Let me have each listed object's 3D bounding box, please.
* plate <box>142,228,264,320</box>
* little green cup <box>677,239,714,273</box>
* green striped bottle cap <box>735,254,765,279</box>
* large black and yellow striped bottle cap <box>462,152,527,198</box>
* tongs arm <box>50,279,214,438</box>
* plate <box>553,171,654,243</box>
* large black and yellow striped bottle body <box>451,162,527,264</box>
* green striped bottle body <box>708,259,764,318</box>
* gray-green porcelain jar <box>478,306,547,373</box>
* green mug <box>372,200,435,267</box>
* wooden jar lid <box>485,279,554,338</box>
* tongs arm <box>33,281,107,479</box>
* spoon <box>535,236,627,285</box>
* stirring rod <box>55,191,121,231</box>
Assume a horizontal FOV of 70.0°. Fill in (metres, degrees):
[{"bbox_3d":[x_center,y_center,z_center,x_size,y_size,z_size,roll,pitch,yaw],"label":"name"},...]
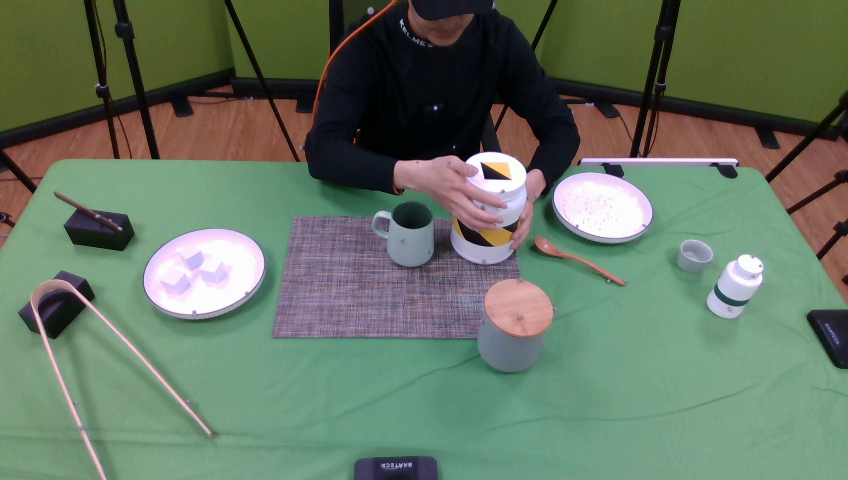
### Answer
[{"bbox_3d":[-0.394,0.064,1.095,0.208,0.039,0.206,2,46,-2],"label":"plate"},{"bbox_3d":[0.530,0.033,1.189,0.061,0.039,0.061,2,47,-2],"label":"little green cup"},{"bbox_3d":[0.566,0.046,1.051,0.044,0.020,0.044,0,45,0],"label":"green striped bottle cap"},{"bbox_3d":[0.126,-0.118,1.083,0.115,0.019,0.114,3,45,-3],"label":"large black and yellow striped bottle cap"},{"bbox_3d":[-0.459,0.178,0.949,0.386,0.028,0.028,37,60,17],"label":"tongs arm"},{"bbox_3d":[0.373,-0.066,1.274,0.209,0.038,0.208,2,46,-2],"label":"plate"},{"bbox_3d":[0.122,-0.059,1.142,0.131,0.185,0.130,2,46,-2],"label":"large black and yellow striped bottle body"},{"bbox_3d":[0.563,0.081,1.089,0.063,0.120,0.063,2,46,-2],"label":"green striped bottle body"},{"bbox_3d":[0.144,0.148,0.989,0.106,0.127,0.105,2,50,-2],"label":"gray-green porcelain jar"},{"bbox_3d":[-0.040,-0.015,1.146,0.125,0.105,0.092,16,48,12],"label":"green mug"},{"bbox_3d":[0.147,0.108,0.940,0.108,0.021,0.107,4,48,-4],"label":"wooden jar lid"},{"bbox_3d":[-0.517,0.214,0.909,0.051,0.026,0.383,-29,63,-27],"label":"tongs arm"},{"bbox_3d":[0.304,0.040,1.178,0.193,0.022,0.041,25,35,19],"label":"spoon"},{"bbox_3d":[-0.632,-0.055,1.138,0.175,0.014,0.006,24,51,19],"label":"stirring rod"}]
